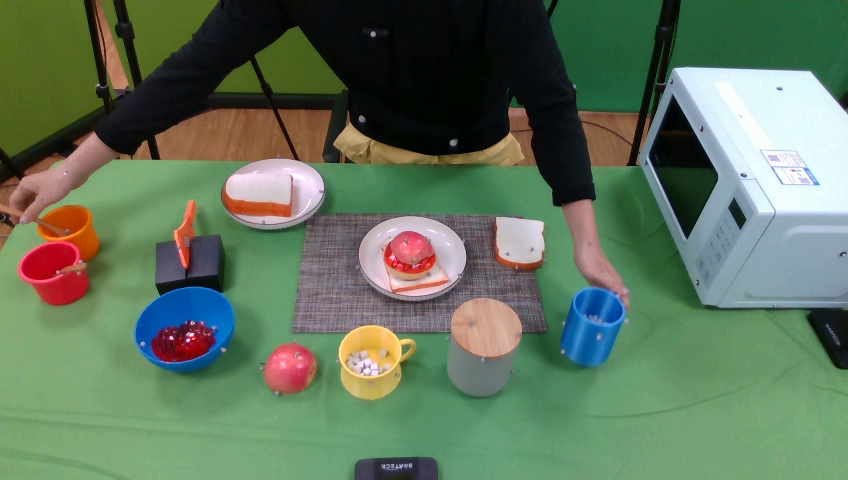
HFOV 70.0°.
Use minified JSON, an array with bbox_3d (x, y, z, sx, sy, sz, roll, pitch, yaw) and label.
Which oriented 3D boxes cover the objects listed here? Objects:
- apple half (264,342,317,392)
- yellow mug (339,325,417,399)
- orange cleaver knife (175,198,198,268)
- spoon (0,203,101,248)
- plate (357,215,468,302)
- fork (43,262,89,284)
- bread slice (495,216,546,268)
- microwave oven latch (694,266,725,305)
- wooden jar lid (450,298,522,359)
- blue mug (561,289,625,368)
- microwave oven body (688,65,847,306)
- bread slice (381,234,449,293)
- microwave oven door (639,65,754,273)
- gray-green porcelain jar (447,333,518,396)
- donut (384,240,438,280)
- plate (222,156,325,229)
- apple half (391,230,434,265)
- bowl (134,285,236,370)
[{"bbox_3d":[-0.214,0.198,0.970,0.074,0.053,0.080,19,48,10],"label":"apple half"},{"bbox_3d":[-0.072,0.190,0.978,0.131,0.064,0.099,-17,50,-20],"label":"yellow mug"},{"bbox_3d":[-0.438,-0.017,1.137,0.012,0.077,0.210,-13,27,-7],"label":"orange cleaver knife"},{"bbox_3d":[-0.683,-0.032,1.088,0.195,0.021,0.041,32,33,-38],"label":"spoon"},{"bbox_3d":[-0.022,0.037,1.142,0.208,0.039,0.206,2,46,-2],"label":"plate"},{"bbox_3d":[-0.599,0.053,1.013,0.207,0.019,0.028,-14,30,45],"label":"fork"},{"bbox_3d":[0.194,0.002,1.205,0.105,0.019,0.131,5,46,2],"label":"bread slice"},{"bbox_3d":[0.523,0.082,1.115,0.030,0.029,0.078,3,46,0],"label":"microwave oven latch"},{"bbox_3d":[0.093,0.135,0.914,0.108,0.021,0.107,3,48,-3],"label":"wooden jar lid"},{"bbox_3d":[0.282,0.135,0.990,0.082,0.106,0.116,31,51,27],"label":"blue mug"},{"bbox_3d":[0.669,-0.111,1.176,0.326,0.261,0.439,0,46,-3],"label":"microwave oven body"},{"bbox_3d":[-0.027,0.039,1.141,0.107,0.018,0.133,-12,50,-16],"label":"bread slice"},{"bbox_3d":[0.522,-0.147,1.192,0.039,0.245,0.353,0,47,-3],"label":"microwave oven door"},{"bbox_3d":[0.091,0.178,0.960,0.106,0.127,0.105,2,47,-2],"label":"gray-green porcelain jar"},{"bbox_3d":[-0.025,0.029,1.109,0.099,0.048,0.098,2,46,-2],"label":"donut"},{"bbox_3d":[-0.307,-0.095,1.251,0.209,0.038,0.208,2,47,-2],"label":"plate"},{"bbox_3d":[-0.021,0.004,1.085,0.081,0.033,0.081,7,44,-6],"label":"apple half"},{"bbox_3d":[-0.377,0.155,0.981,0.151,0.077,0.150,2,46,-2],"label":"bowl"}]
